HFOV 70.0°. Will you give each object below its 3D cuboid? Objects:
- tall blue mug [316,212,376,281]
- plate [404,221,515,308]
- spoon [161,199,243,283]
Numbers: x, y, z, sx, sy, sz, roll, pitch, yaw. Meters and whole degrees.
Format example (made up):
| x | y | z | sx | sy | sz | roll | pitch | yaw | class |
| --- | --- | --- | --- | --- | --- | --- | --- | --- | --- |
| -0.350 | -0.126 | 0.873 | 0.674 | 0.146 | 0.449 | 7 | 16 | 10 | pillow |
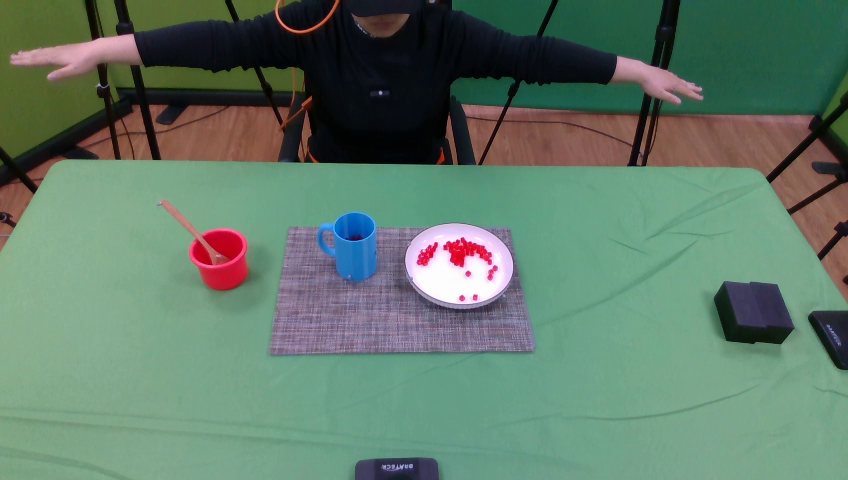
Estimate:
| x | y | z | sx | sy | sz | roll | pitch | yaw | class |
| --- | --- | --- | --- | --- | --- | --- | --- | --- | --- |
| -0.142 | 0.014 | 1.109 | 0.107 | 0.108 | 0.077 | -5 | 47 | -8 | tall blue mug |
| 0.065 | 0.049 | 1.140 | 0.208 | 0.039 | 0.206 | 2 | 46 | -2 | plate |
| -0.397 | 0.001 | 1.083 | 0.194 | 0.021 | 0.041 | 53 | 57 | -15 | spoon |
